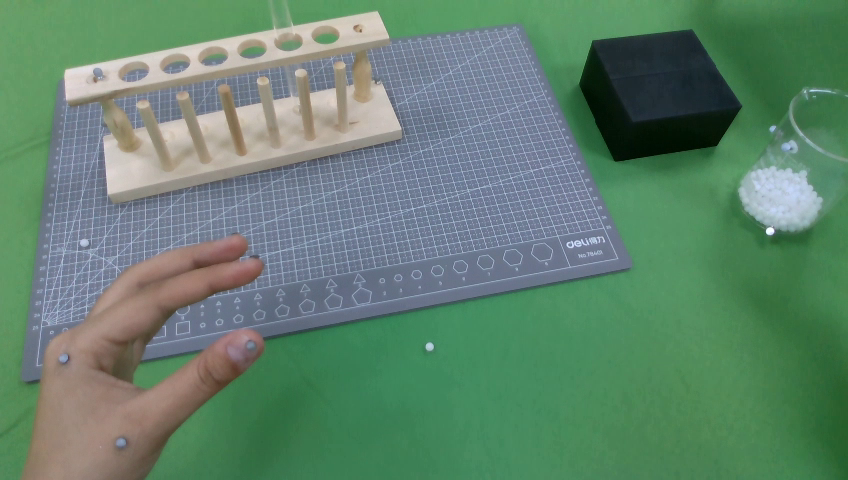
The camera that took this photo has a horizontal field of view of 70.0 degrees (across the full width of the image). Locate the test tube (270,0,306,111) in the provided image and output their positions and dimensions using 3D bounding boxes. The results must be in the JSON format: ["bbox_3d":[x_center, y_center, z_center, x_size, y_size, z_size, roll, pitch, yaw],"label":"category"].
[{"bbox_3d":[-0.106,-0.161,0.472,0.017,0.151,0.017,0,53,1],"label":"test tube"}]

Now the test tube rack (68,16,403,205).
[{"bbox_3d":[-0.142,-0.107,0.495,0.243,0.086,0.066,-15,59,-12],"label":"test tube rack"}]

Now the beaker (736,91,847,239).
[{"bbox_3d":[0.301,-0.056,0.479,0.074,0.101,0.083,-8,57,-8],"label":"beaker"}]
